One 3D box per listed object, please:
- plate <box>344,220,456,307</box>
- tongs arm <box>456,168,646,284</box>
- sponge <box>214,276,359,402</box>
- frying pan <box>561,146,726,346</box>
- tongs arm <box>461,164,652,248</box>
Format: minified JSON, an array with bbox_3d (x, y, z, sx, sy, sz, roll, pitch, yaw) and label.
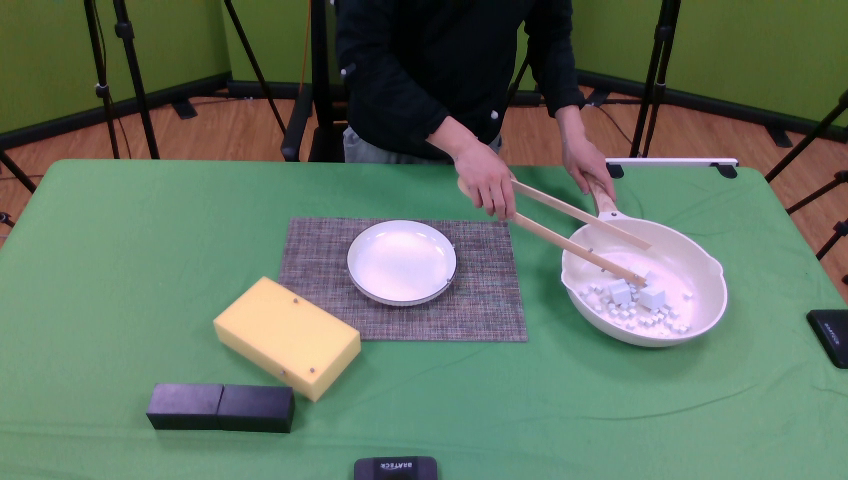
[{"bbox_3d":[-0.045,0.047,1.133,0.208,0.039,0.206,3,46,-2],"label":"plate"},{"bbox_3d":[0.229,-0.024,1.097,0.385,0.026,0.050,25,58,-4],"label":"tongs arm"},{"bbox_3d":[-0.225,0.158,0.998,0.206,0.061,0.118,27,52,18],"label":"sponge"},{"bbox_3d":[0.378,-0.006,1.176,0.307,0.103,0.484,-4,55,-9],"label":"frying pan"},{"bbox_3d":[0.246,-0.061,1.125,0.388,0.028,0.028,22,61,-6],"label":"tongs arm"}]
